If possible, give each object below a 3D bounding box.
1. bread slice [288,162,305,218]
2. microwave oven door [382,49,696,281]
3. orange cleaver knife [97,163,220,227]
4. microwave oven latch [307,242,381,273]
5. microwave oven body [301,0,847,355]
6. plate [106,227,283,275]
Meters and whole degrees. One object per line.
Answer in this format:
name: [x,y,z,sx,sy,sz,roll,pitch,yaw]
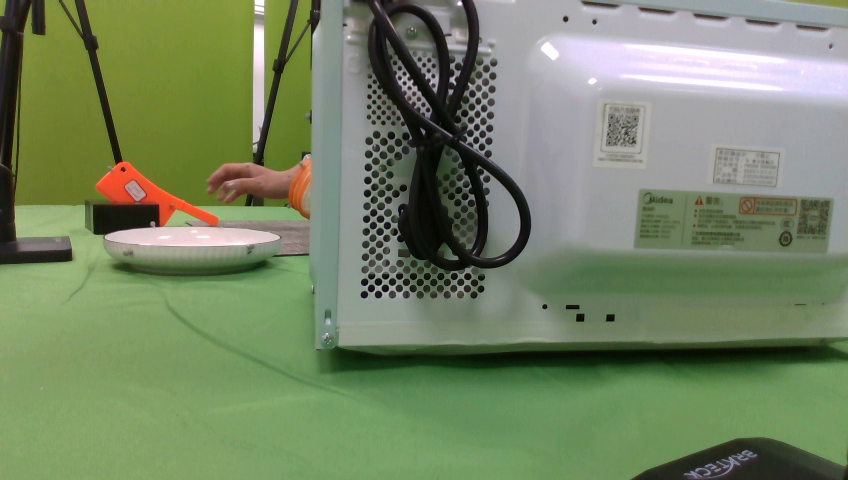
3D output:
bread slice: [-0.160,-0.075,1.010,0.135,0.107,0.018,33,-7,-39]
microwave oven door: [0.135,-0.077,0.685,0.357,0.243,0.039,1,8,-12]
orange cleaver knife: [-0.472,-0.062,1.087,0.212,0.077,0.012,33,-14,-36]
microwave oven latch: [-0.086,0.019,0.656,0.079,0.029,0.030,2,7,-10]
microwave oven body: [0.120,-0.053,0.535,0.443,0.260,0.325,2,7,-11]
plate: [-0.288,0.013,0.772,0.208,0.039,0.207,2,7,0]
